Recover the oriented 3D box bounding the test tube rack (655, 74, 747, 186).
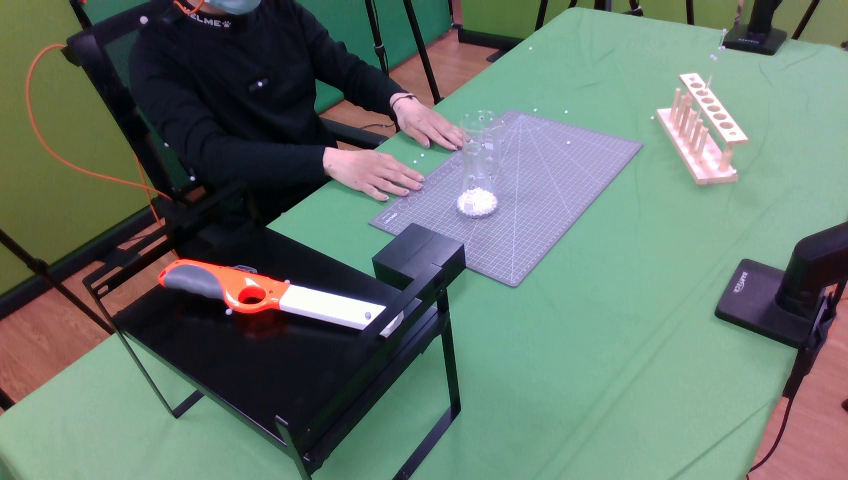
[{"bbox_3d":[0.491,-0.205,1.092,0.067,0.085,0.241,-5,40,3],"label":"test tube rack"}]

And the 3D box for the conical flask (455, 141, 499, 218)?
[{"bbox_3d":[0.085,-0.103,0.999,0.075,0.122,0.075,-4,40,4],"label":"conical flask"}]

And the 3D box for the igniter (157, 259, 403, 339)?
[{"bbox_3d":[-0.157,0.059,0.638,0.275,0.025,0.057,11,43,14],"label":"igniter"}]

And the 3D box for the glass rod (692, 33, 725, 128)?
[{"bbox_3d":[0.501,-0.277,1.073,0.008,0.200,0.008,-3,50,4],"label":"glass rod"}]

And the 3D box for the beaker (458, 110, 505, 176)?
[{"bbox_3d":[0.106,-0.174,1.097,0.084,0.101,0.074,5,42,13],"label":"beaker"}]
